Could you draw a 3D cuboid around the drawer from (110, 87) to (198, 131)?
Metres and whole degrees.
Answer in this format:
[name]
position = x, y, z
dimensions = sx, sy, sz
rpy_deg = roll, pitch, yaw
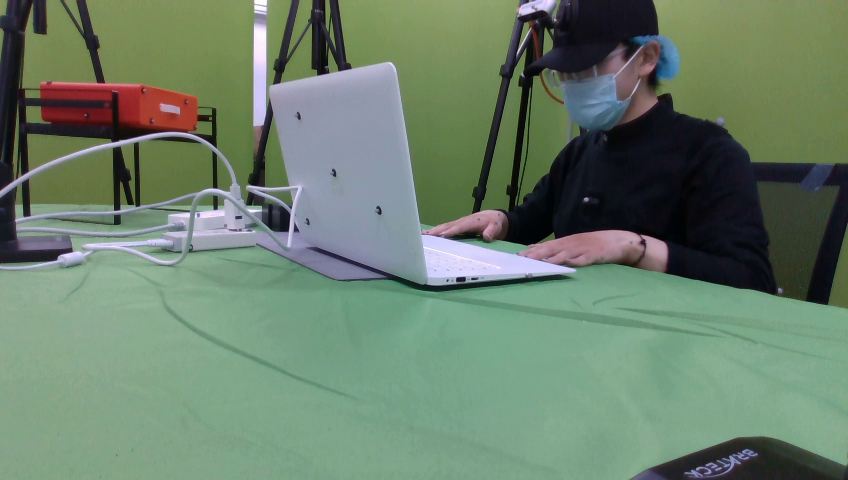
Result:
[drawer]
position = -0.602, -0.263, 1.225
dimensions = 0.211, 0.073, 0.195
rpy_deg = 3, 8, 10

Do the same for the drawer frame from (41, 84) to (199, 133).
[drawer frame]
position = -0.604, -0.264, 1.225
dimensions = 0.213, 0.082, 0.202
rpy_deg = 3, 8, 8

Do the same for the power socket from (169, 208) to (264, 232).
[power socket]
position = -0.381, -0.038, 1.128
dimensions = 0.072, 0.032, 0.227
rpy_deg = 4, 8, 17

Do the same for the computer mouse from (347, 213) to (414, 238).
[computer mouse]
position = -0.079, -0.025, 1.080
dimensions = 0.117, 0.041, 0.062
rpy_deg = -5, 11, -18

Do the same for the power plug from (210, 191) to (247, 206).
[power plug]
position = -0.386, -0.071, 1.204
dimensions = 0.072, 0.052, 0.035
rpy_deg = 8, 11, 25

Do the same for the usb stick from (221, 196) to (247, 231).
[usb stick]
position = -0.290, -0.035, 0.920
dimensions = 0.027, 0.059, 0.021
rpy_deg = 14, 4, 32

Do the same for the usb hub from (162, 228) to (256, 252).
[usb hub]
position = -0.315, 0.000, 0.893
dimensions = 0.049, 0.025, 0.126
rpy_deg = 8, 10, 41

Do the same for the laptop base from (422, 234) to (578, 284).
[laptop base]
position = 0.007, 0.022, 0.850
dimensions = 0.237, 0.023, 0.352
rpy_deg = 1, 7, -34

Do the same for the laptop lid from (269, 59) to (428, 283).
[laptop lid]
position = -0.110, -0.087, 0.752
dimensions = 0.013, 0.241, 0.355
rpy_deg = -18, 19, -30
